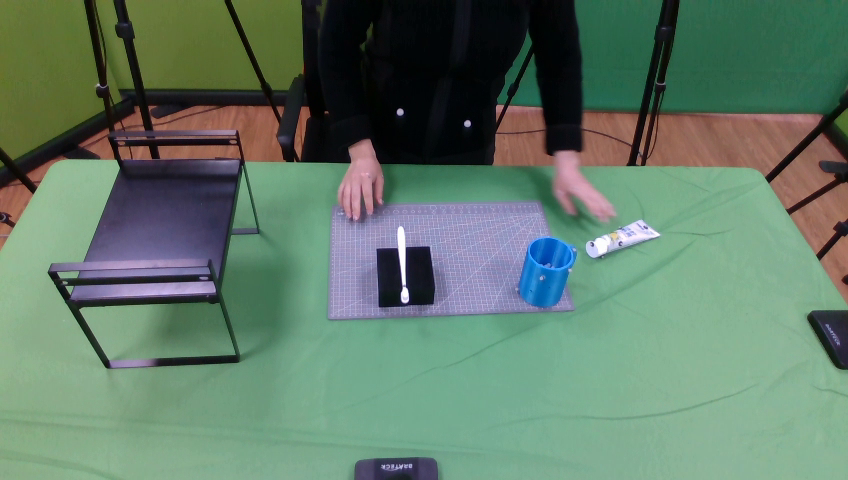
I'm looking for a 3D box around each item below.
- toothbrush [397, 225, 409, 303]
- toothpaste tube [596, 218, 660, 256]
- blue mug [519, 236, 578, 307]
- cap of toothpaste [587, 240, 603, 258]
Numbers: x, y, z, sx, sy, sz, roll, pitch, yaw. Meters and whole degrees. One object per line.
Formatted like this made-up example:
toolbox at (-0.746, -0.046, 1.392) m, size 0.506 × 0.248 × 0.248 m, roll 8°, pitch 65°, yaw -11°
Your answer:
toothbrush at (-0.038, 0.038, 1.090) m, size 0.014 × 0.017 × 0.180 m, roll -5°, pitch 46°, yaw -1°
toothpaste tube at (0.405, -0.005, 1.226) m, size 0.165 × 0.034 × 0.054 m, roll -20°, pitch 55°, yaw -26°
blue mug at (0.234, 0.052, 1.102) m, size 0.116 × 0.106 × 0.082 m, roll -23°, pitch 52°, yaw -24°
cap of toothpaste at (0.337, 0.016, 1.193) m, size 0.011 × 0.037 × 0.037 m, roll -20°, pitch 51°, yaw -26°
